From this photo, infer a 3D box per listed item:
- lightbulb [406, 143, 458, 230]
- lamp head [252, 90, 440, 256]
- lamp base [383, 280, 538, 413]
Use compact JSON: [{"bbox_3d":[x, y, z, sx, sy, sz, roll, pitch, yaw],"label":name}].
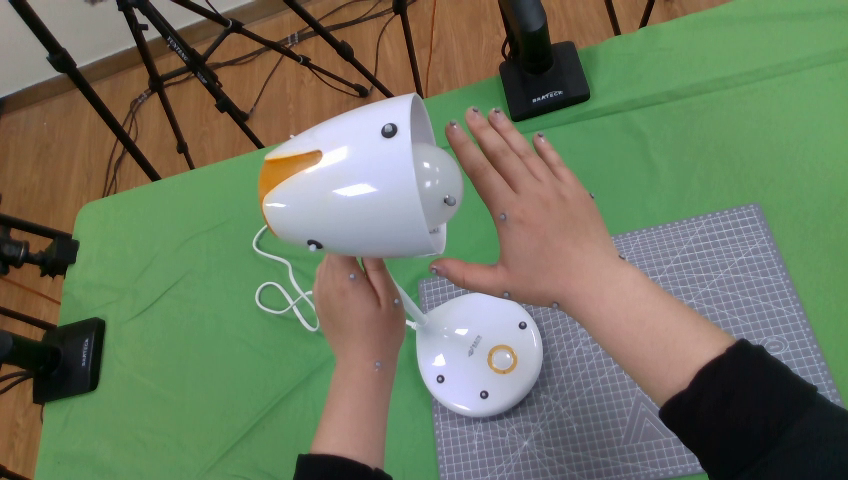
[{"bbox_3d":[-0.030,-0.031,0.416,0.107,0.060,0.059,-12,62,14],"label":"lightbulb"},{"bbox_3d":[-0.054,-0.037,0.424,0.122,0.113,0.111,-10,63,15],"label":"lamp head"},{"bbox_3d":[0.030,0.103,0.707,0.178,0.182,0.160,11,68,26],"label":"lamp base"}]
